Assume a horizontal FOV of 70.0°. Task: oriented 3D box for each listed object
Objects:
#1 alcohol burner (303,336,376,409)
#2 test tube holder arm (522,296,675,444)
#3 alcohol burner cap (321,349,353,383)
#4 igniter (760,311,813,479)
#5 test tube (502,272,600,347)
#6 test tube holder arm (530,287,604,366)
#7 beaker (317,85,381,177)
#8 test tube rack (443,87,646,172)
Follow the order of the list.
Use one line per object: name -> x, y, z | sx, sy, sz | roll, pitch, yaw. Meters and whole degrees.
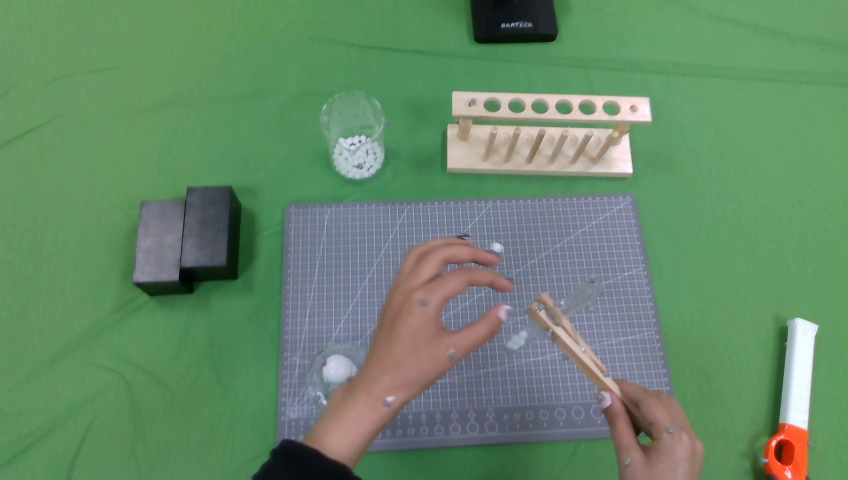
alcohol burner -> -0.090, 0.135, 0.635 | 0.078, 0.120, 0.077 | 2, 68, -4
test tube holder arm -> 0.154, 0.116, 0.534 | 0.178, 0.015, 0.013 | 46, 56, -1
alcohol burner cap -> -0.088, 0.124, 0.601 | 0.034, 0.048, 0.033 | 1, 74, -3
igniter -> 0.409, 0.212, 0.683 | 0.057, 0.025, 0.275 | 21, 70, -5
test tube -> 0.108, 0.066, 0.539 | 0.017, 0.151, 0.017 | 10, 59, -17
test tube holder arm -> 0.127, 0.079, 0.538 | 0.010, 0.015, 0.087 | -35, 86, -34
beaker -> -0.089, -0.127, 0.745 | 0.074, 0.101, 0.083 | 0, 70, -3
test tube rack -> 0.148, -0.139, 0.769 | 0.242, 0.085, 0.066 | 1, 70, -3
